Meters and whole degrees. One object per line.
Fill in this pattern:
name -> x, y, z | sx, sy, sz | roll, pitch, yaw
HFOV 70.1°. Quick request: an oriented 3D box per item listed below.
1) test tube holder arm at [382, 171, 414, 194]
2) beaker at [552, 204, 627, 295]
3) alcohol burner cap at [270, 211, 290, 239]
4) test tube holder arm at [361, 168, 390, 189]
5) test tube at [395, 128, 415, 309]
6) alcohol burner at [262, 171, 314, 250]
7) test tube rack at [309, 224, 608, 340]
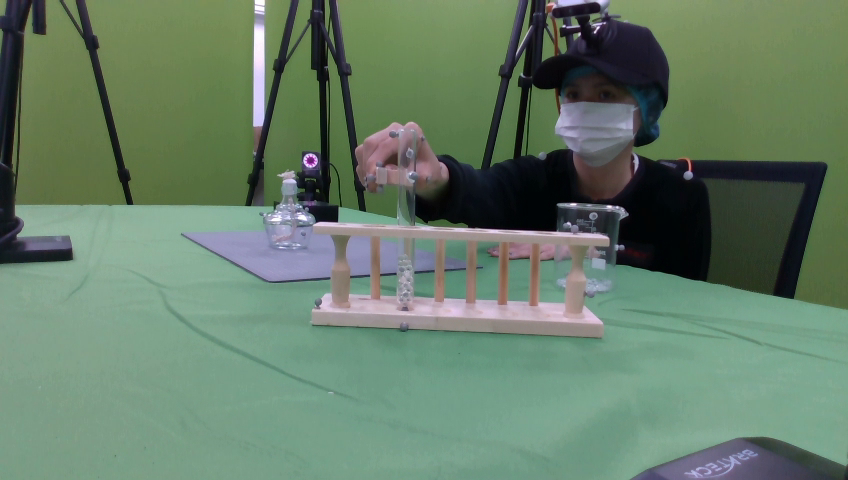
test tube holder arm -> -0.032, -0.054, 0.556 | 0.010, 0.015, 0.087 | 11, 6, -28
beaker -> 0.191, 0.010, 0.708 | 0.083, 0.100, 0.074 | 8, 9, 33
alcohol burner cap -> -0.246, -0.025, 1.035 | 0.034, 0.048, 0.034 | 2, 8, 0
test tube holder arm -> -0.050, -0.063, 0.596 | 0.013, 0.015, 0.178 | 14, 5, -14
test tube -> -0.016, -0.016, 0.501 | 0.017, 0.150, 0.017 | 1, 10, 0
alcohol burner -> -0.205, -0.044, 0.913 | 0.078, 0.119, 0.078 | 1, 9, 0
test tube rack -> 0.028, 0.032, 0.527 | 0.242, 0.085, 0.067 | 3, 7, 0
